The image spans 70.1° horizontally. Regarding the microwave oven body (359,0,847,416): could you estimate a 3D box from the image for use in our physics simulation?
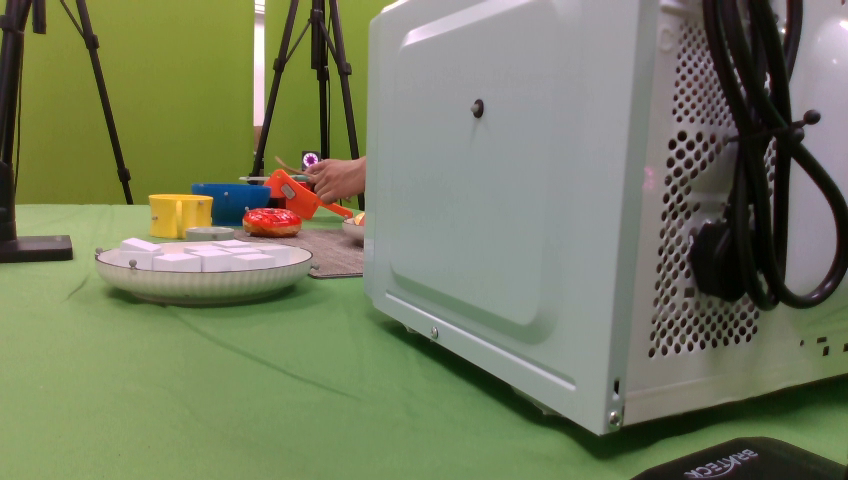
[{"bbox_3d":[0.211,-0.047,0.474,0.444,0.260,0.324,-1,7,-28],"label":"microwave oven body"}]

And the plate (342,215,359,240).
[{"bbox_3d":[-0.033,-0.015,1.006,0.209,0.038,0.209,2,8,0],"label":"plate"}]

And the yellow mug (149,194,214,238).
[{"bbox_3d":[-0.401,-0.040,1.003,0.100,0.064,0.130,0,9,-20],"label":"yellow mug"}]

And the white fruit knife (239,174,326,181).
[{"bbox_3d":[-0.322,-0.143,1.397,0.208,0.016,0.027,-4,-12,-29],"label":"white fruit knife"}]

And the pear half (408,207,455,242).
[{"bbox_3d":[0.018,-0.026,0.999,0.076,0.056,0.110,9,6,19],"label":"pear half"}]

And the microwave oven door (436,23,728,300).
[{"bbox_3d":[0.180,-0.073,0.621,0.358,0.243,0.039,-2,9,-29],"label":"microwave oven door"}]

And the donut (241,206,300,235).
[{"bbox_3d":[-0.263,-0.032,1.039,0.099,0.048,0.099,4,9,0],"label":"donut"}]

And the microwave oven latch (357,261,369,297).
[{"bbox_3d":[-0.019,0.033,0.530,0.079,0.029,0.030,-1,7,-26],"label":"microwave oven latch"}]

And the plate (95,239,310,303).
[{"bbox_3d":[-0.224,0.031,0.629,0.208,0.039,0.207,2,8,0],"label":"plate"}]

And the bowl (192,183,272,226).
[{"bbox_3d":[-0.381,-0.071,1.202,0.151,0.077,0.151,3,7,0],"label":"bowl"}]

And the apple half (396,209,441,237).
[{"bbox_3d":[-0.008,-0.036,1.053,0.081,0.033,0.081,13,26,-6],"label":"apple half"}]

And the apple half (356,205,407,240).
[{"bbox_3d":[-0.065,-0.029,0.970,0.081,0.053,0.074,3,7,-26],"label":"apple half"}]

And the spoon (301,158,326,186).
[{"bbox_3d":[-0.320,-0.160,1.646,0.041,0.022,0.194,8,53,33],"label":"spoon"}]

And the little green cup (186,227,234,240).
[{"bbox_3d":[-0.285,0.005,0.805,0.061,0.038,0.061,2,8,0],"label":"little green cup"}]

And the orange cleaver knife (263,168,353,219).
[{"bbox_3d":[-0.262,-0.088,1.352,0.211,0.077,0.012,27,13,0],"label":"orange cleaver knife"}]

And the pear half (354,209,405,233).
[{"bbox_3d":[-0.076,-0.035,1.045,0.088,0.031,0.070,6,27,-7],"label":"pear half"}]

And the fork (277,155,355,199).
[{"bbox_3d":[-0.228,-0.131,1.268,0.206,0.028,0.019,29,26,22],"label":"fork"}]
